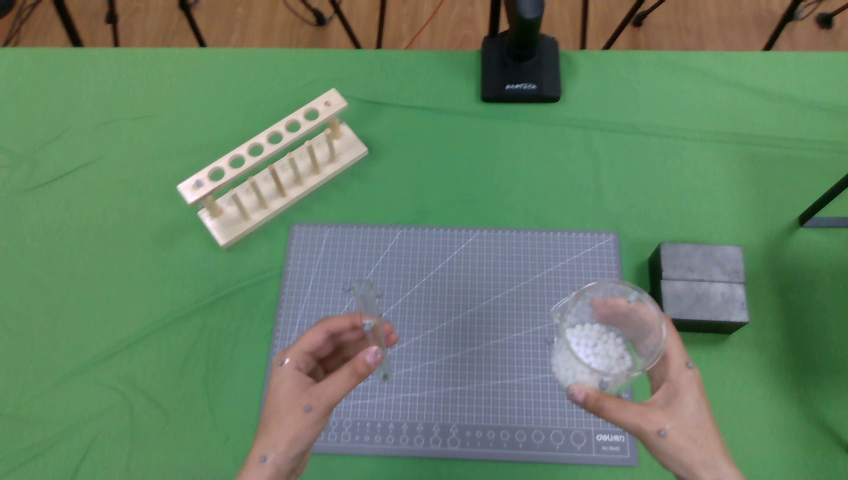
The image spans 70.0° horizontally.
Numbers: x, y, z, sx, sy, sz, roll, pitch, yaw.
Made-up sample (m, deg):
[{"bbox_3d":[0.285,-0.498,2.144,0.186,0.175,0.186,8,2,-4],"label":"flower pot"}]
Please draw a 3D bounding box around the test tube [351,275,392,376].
[{"bbox_3d":[-0.041,0.075,0.493,0.017,0.151,0.017,-2,53,3],"label":"test tube"}]

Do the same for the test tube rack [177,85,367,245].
[{"bbox_3d":[-0.199,-0.102,0.827,0.242,0.086,0.066,-36,70,-13],"label":"test tube rack"}]

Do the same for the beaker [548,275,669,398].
[{"bbox_3d":[0.137,0.081,0.480,0.084,0.101,0.073,16,65,11],"label":"beaker"}]
